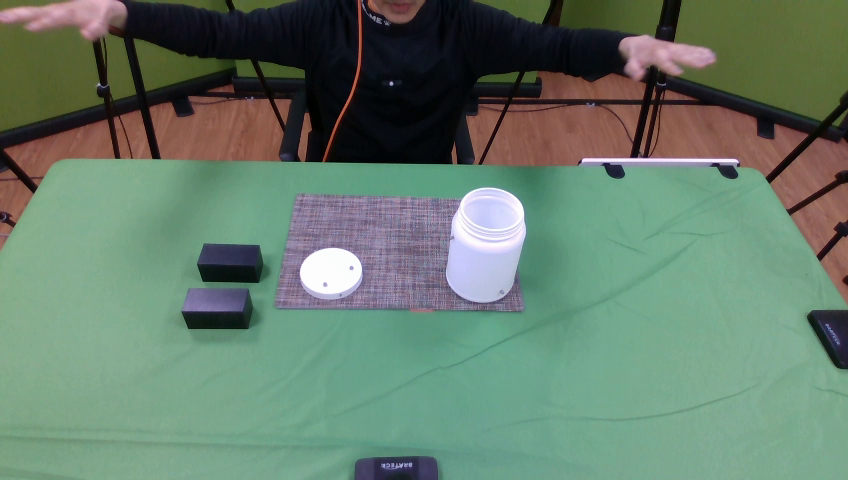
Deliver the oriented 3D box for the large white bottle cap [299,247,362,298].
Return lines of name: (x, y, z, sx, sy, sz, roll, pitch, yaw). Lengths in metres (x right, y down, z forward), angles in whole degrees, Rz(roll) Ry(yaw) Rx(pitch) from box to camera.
large white bottle cap: (-0.174, 0.059, 1.124, 0.115, 0.018, 0.114, 2, 46, -2)

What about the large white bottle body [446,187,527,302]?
large white bottle body: (0.110, 0.008, 1.079, 0.131, 0.185, 0.130, 2, 47, -2)
